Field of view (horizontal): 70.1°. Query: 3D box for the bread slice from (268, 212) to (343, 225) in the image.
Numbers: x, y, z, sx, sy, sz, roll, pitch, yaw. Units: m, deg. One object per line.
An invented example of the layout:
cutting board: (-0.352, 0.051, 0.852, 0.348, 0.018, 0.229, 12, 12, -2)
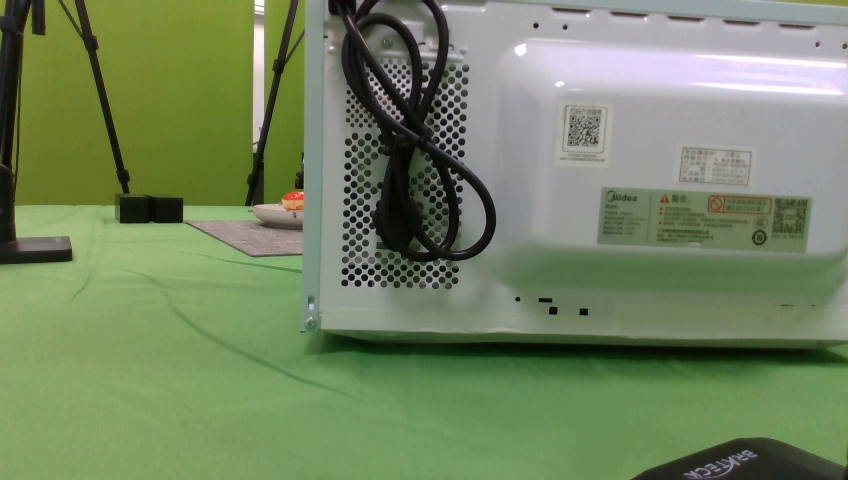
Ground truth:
bread slice: (-0.244, -0.045, 1.220, 0.104, 0.019, 0.132, 6, 7, 36)

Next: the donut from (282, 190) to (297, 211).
donut: (-0.239, -0.077, 1.232, 0.099, 0.048, 0.099, 2, 4, 0)

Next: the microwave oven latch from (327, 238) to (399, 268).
microwave oven latch: (-0.069, 0.015, 0.694, 0.079, 0.029, 0.030, 3, 7, -3)

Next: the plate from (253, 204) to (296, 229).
plate: (-0.238, -0.048, 1.226, 0.208, 0.039, 0.207, 3, 7, 0)

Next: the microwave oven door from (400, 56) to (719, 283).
microwave oven door: (0.155, -0.077, 0.697, 0.356, 0.243, 0.039, 2, 8, -5)

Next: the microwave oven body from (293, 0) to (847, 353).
microwave oven body: (0.122, -0.055, 0.550, 0.442, 0.260, 0.325, 3, 7, -5)
